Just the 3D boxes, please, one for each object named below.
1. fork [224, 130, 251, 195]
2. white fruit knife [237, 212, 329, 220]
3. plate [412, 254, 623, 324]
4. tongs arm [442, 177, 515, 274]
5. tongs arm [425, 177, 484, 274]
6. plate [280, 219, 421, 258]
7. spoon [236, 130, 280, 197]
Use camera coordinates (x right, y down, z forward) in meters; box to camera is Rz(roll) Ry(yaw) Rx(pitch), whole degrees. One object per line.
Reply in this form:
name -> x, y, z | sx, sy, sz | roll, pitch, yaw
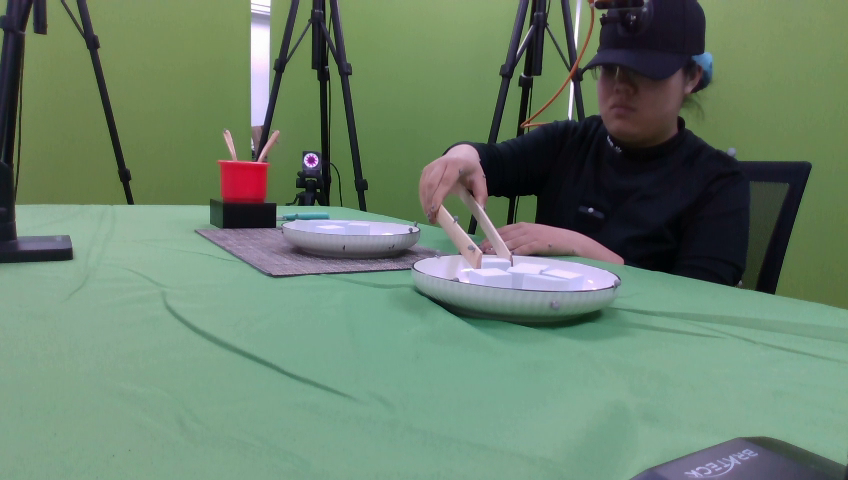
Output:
fork -> -0.372, -0.155, 1.193 | 0.028, 0.018, 0.206 | -17, 54, -13
white fruit knife -> -0.304, -0.050, 1.328 | 0.208, 0.016, 0.027 | -3, -19, -29
plate -> 0.091, 0.047, 0.609 | 0.209, 0.038, 0.209 | 2, 7, 0
tongs arm -> 0.067, -0.034, 0.817 | 0.028, 0.028, 0.386 | -3, 18, -6
tongs arm -> 0.043, -0.034, 0.814 | 0.051, 0.026, 0.383 | -1, 18, -12
plate -> -0.108, -0.002, 0.902 | 0.208, 0.039, 0.207 | 3, 7, 0
spoon -> -0.321, -0.154, 1.192 | 0.041, 0.193, 0.022 | 0, -37, 19
